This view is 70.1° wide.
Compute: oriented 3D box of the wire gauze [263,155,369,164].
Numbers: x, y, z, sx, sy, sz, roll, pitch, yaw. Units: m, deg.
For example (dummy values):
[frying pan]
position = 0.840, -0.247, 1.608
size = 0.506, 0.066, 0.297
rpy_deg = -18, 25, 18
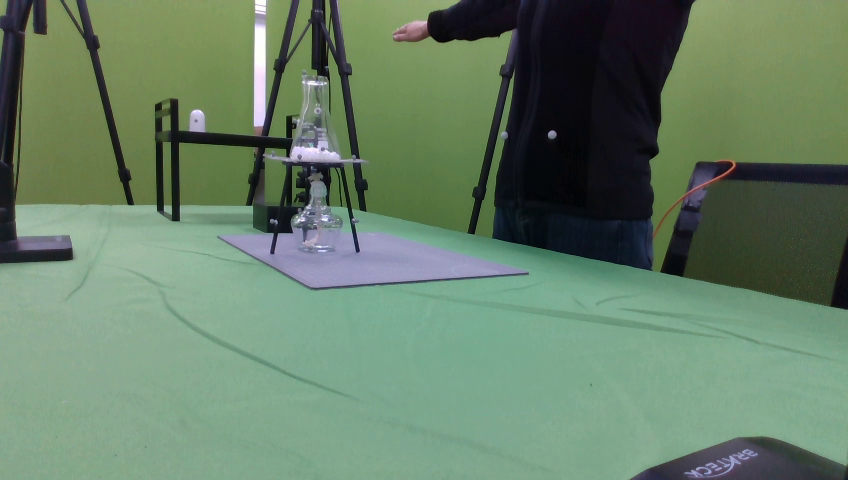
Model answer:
[wire gauze]
position = -0.160, -0.116, 0.888
size = 0.122, 0.011, 0.124
rpy_deg = -1, 6, -32

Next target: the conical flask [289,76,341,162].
[conical flask]
position = -0.159, -0.175, 0.882
size = 0.075, 0.122, 0.075
rpy_deg = 1, 9, 0

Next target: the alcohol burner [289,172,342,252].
[alcohol burner]
position = -0.160, -0.042, 0.899
size = 0.078, 0.119, 0.078
rpy_deg = 4, 9, 0

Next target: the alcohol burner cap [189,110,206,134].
[alcohol burner cap]
position = -0.464, -0.242, 1.240
size = 0.034, 0.048, 0.034
rpy_deg = 3, 6, 0

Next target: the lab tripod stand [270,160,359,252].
[lab tripod stand]
position = -0.167, -0.051, 0.892
size = 0.148, 0.131, 0.148
rpy_deg = 4, 9, 0
